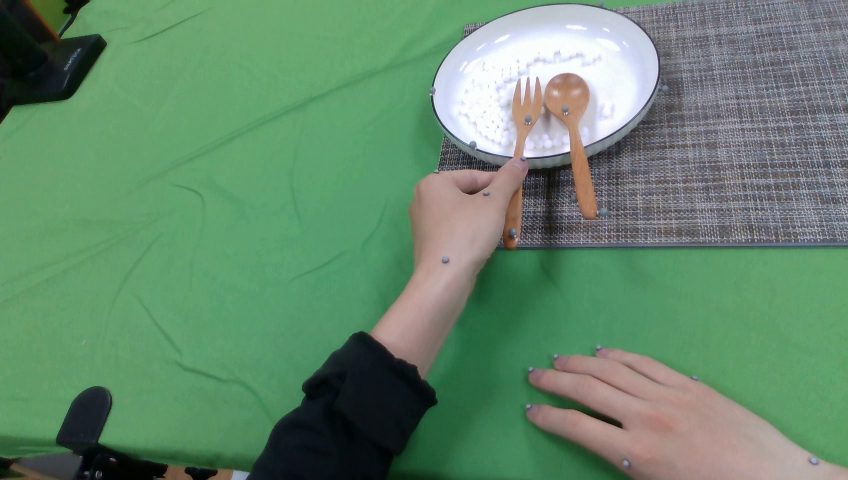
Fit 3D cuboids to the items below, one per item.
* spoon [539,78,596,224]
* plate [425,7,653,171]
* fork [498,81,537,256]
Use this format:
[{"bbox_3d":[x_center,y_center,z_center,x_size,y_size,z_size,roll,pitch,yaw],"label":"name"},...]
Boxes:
[{"bbox_3d":[0.122,-0.081,0.505,0.041,0.022,0.192,-5,41,10],"label":"spoon"},{"bbox_3d":[0.106,-0.141,0.573,0.207,0.039,0.205,-8,54,11],"label":"plate"},{"bbox_3d":[0.078,-0.069,0.511,0.028,0.019,0.205,6,49,8],"label":"fork"}]
